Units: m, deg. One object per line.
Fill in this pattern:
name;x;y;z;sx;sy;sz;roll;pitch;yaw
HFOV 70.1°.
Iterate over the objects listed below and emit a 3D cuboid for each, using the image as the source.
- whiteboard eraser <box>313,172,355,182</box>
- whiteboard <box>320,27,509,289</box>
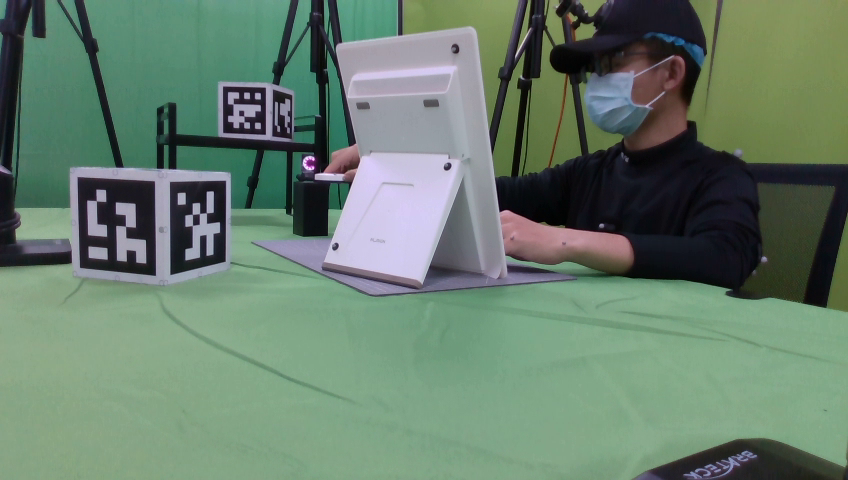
whiteboard eraser;-0.163;-0.121;1.158;0.102;0.019;0.041;-2;6;-33
whiteboard;-0.045;-0.076;0.721;0.216;0.305;0.144;9;29;39
